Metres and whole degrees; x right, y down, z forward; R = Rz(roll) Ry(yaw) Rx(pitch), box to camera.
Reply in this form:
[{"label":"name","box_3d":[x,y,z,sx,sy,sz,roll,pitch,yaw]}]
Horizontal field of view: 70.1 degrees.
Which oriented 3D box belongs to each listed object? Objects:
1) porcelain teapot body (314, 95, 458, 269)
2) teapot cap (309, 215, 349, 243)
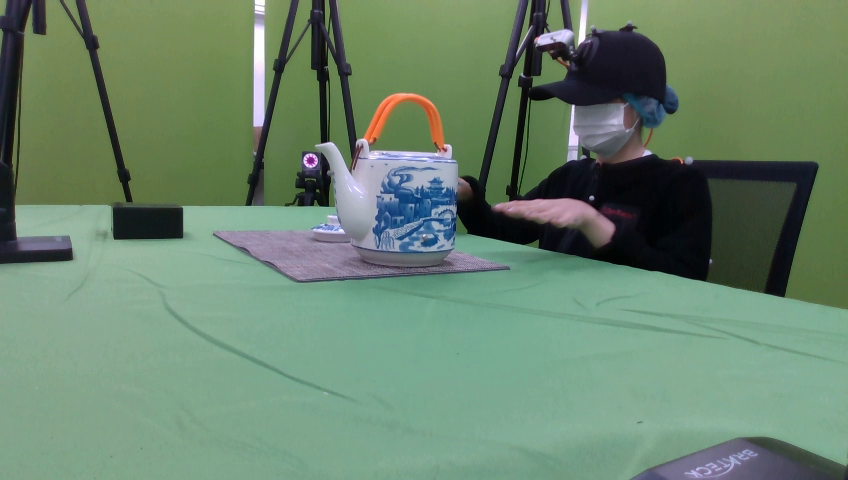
[{"label":"porcelain teapot body","box_3d":[-0.049,-0.079,0.800,0.206,0.225,0.144,-3,9,-37]},{"label":"teapot cap","box_3d":[-0.151,-0.020,1.014,0.085,0.044,0.085,3,10,0]}]
